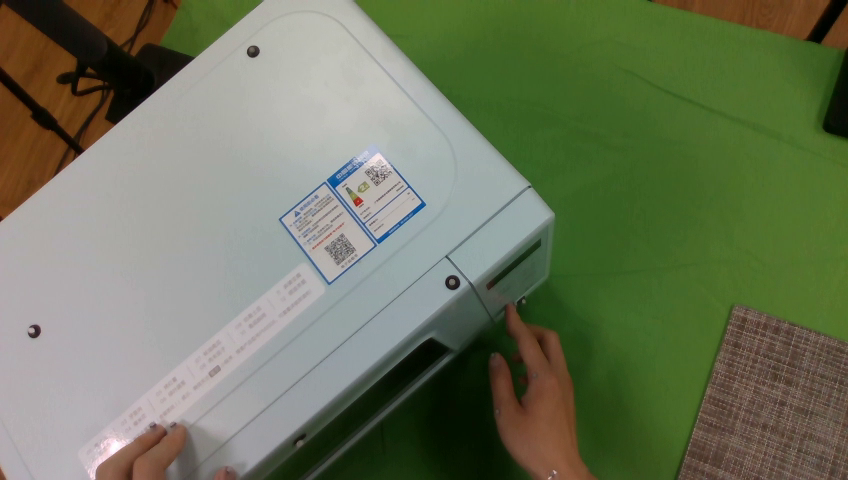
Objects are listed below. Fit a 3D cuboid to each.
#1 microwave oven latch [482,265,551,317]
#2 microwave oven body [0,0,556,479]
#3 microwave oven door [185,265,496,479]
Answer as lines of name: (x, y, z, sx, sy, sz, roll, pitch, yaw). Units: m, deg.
microwave oven latch: (0.096, 0.045, 0.633, 0.079, 0.030, 0.030, -38, 74, 0)
microwave oven body: (-0.148, 0.030, 0.579, 0.441, 0.262, 0.324, -41, 74, 0)
microwave oven door: (-0.091, 0.161, 0.532, 0.356, 0.245, 0.039, -40, 72, -1)
